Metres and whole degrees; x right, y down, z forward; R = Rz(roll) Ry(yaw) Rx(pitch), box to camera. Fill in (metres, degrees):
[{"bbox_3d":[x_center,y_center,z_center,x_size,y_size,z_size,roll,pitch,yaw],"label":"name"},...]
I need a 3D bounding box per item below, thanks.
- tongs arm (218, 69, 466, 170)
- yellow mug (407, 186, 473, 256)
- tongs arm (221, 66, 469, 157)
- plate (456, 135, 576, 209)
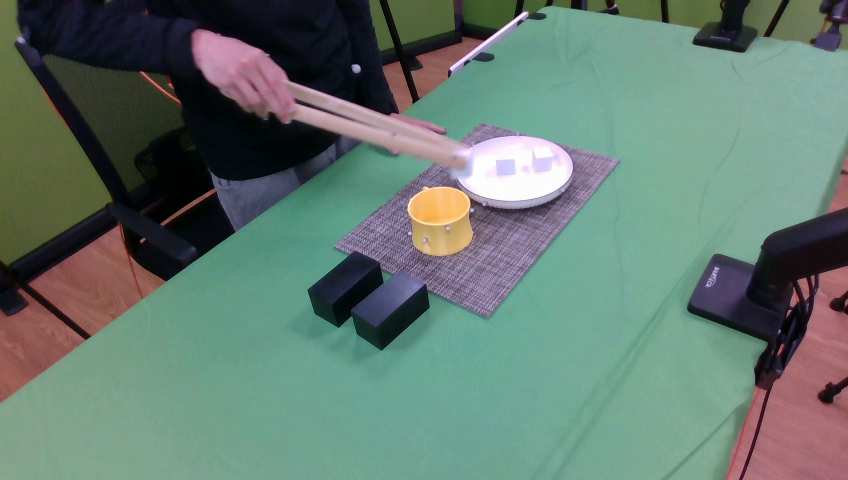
[{"bbox_3d":[-0.122,-0.178,0.902,0.386,0.026,0.050,15,45,-5],"label":"tongs arm"},{"bbox_3d":[0.021,-0.041,0.973,0.100,0.064,0.129,-19,41,-12],"label":"yellow mug"},{"bbox_3d":[-0.118,-0.194,0.919,0.388,0.028,0.028,18,48,-2],"label":"tongs arm"},{"bbox_3d":[0.161,-0.116,1.064,0.207,0.039,0.206,-4,40,4],"label":"plate"}]
